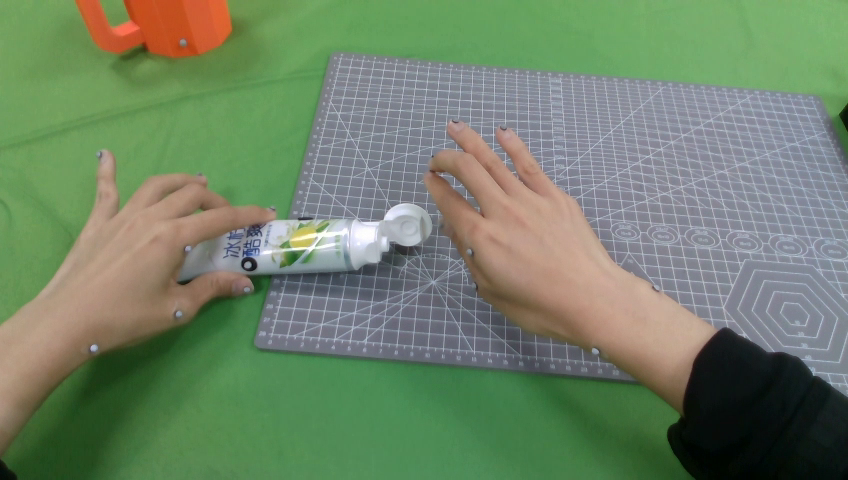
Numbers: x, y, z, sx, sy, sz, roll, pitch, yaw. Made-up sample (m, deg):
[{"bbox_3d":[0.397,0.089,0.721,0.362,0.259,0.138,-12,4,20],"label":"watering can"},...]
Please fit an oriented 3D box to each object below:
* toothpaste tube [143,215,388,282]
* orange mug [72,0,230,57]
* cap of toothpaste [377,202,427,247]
[{"bbox_3d":[-0.107,0.002,0.413,0.165,0.035,0.054,-2,53,4],"label":"toothpaste tube"},{"bbox_3d":[-0.235,-0.217,0.519,0.126,0.101,0.083,-36,64,-30],"label":"orange mug"},{"bbox_3d":[-0.016,-0.009,0.421,0.037,0.037,0.011,5,31,1],"label":"cap of toothpaste"}]
